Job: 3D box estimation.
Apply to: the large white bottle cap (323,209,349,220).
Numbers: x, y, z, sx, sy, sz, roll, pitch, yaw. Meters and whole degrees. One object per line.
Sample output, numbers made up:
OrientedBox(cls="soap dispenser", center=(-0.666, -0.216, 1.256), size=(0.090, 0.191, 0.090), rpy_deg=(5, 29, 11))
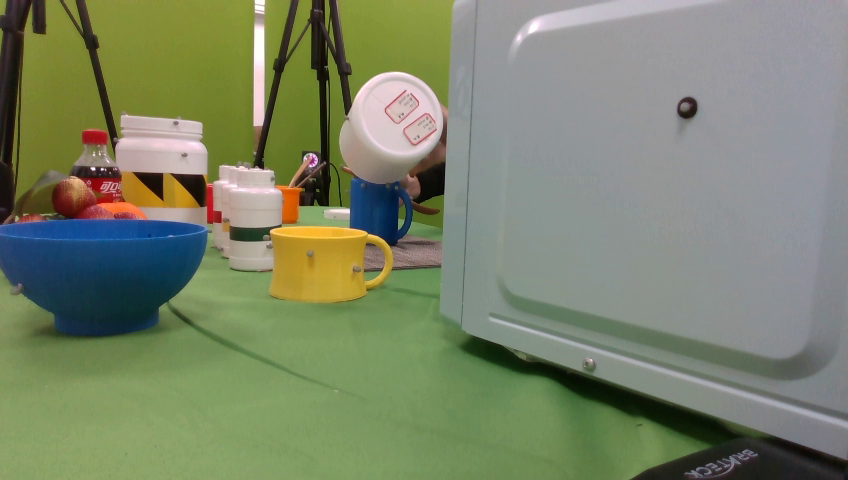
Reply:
OrientedBox(cls="large white bottle cap", center=(-0.184, -0.062, 1.449), size=(0.115, 0.018, 0.115), rpy_deg=(2, 8, 0))

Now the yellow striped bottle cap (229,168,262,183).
OrientedBox(cls="yellow striped bottle cap", center=(-0.240, -0.087, 0.816), size=(0.044, 0.018, 0.044), rpy_deg=(-4, 5, 1))

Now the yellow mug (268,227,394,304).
OrientedBox(cls="yellow mug", center=(-0.094, 0.023, 0.629), size=(0.131, 0.064, 0.099), rpy_deg=(0, 7, -22))

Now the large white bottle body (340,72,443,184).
OrientedBox(cls="large white bottle body", center=(-0.056, -0.158, 0.911), size=(0.131, 0.130, 0.184), rpy_deg=(1, -9, -15))

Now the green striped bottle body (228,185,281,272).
OrientedBox(cls="green striped bottle body", center=(-0.208, -0.024, 0.745), size=(0.063, 0.119, 0.063), rpy_deg=(2, 7, 0))

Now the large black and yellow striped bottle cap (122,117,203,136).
OrientedBox(cls="large black and yellow striped bottle cap", center=(-0.399, -0.174, 0.927), size=(0.115, 0.019, 0.115), rpy_deg=(5, 9, -1))

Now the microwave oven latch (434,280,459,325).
OrientedBox(cls="microwave oven latch", center=(0.044, 0.045, 0.470), size=(0.079, 0.029, 0.030), rpy_deg=(-2, 8, -39))

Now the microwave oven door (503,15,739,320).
OrientedBox(cls="microwave oven door", center=(0.218, -0.065, 0.600), size=(0.358, 0.243, 0.039), rpy_deg=(-4, 10, -41))

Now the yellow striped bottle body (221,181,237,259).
OrientedBox(cls="yellow striped bottle body", center=(-0.243, -0.035, 0.823), size=(0.063, 0.120, 0.063), rpy_deg=(2, 8, 0))

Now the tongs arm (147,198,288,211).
OrientedBox(cls="tongs arm", center=(-0.503, -0.090, 1.513), size=(0.028, 0.028, 0.389), rpy_deg=(-1, 3, 38))

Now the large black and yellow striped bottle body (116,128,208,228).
OrientedBox(cls="large black and yellow striped bottle body", center=(-0.404, -0.089, 0.937), size=(0.131, 0.184, 0.130), rpy_deg=(3, 7, 0))

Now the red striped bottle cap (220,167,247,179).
OrientedBox(cls="red striped bottle cap", center=(-0.281, -0.099, 0.901), size=(0.044, 0.017, 0.044), rpy_deg=(-1, 5, 0))

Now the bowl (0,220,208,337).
OrientedBox(cls="bowl", center=(-0.251, 0.029, 0.479), size=(0.151, 0.077, 0.151), rpy_deg=(2, 7, 0))

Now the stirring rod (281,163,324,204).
OrientedBox(cls="stirring rod", center=(-0.278, -0.105, 1.293), size=(0.176, 0.006, 0.014), rpy_deg=(-46, 25, -19))

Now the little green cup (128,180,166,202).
OrientedBox(cls="little green cup", center=(-0.485, -0.087, 1.062), size=(0.061, 0.038, 0.061), rpy_deg=(0, 6, 0))

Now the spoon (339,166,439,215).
OrientedBox(cls="spoon", center=(-0.061, -0.089, 1.067), size=(0.194, 0.021, 0.041), rpy_deg=(29, -1, 3))

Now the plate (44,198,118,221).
OrientedBox(cls="plate", center=(-0.617, -0.056, 1.179), size=(0.209, 0.038, 0.209), rpy_deg=(3, 7, 0))

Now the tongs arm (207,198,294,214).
OrientedBox(cls="tongs arm", center=(-0.423, -0.084, 1.472), size=(0.050, 0.026, 0.386), rpy_deg=(1, 6, 22))

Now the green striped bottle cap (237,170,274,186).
OrientedBox(cls="green striped bottle cap", center=(-0.205, -0.075, 0.737), size=(0.044, 0.020, 0.044), rpy_deg=(1, 7, 0))

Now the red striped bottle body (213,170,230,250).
OrientedBox(cls="red striped bottle body", center=(-0.283, -0.047, 0.909), size=(0.063, 0.119, 0.063), rpy_deg=(3, 14, 0))

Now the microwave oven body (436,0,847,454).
OrientedBox(cls="microwave oven body", center=(0.279, -0.040, 0.464), size=(0.444, 0.260, 0.324), rpy_deg=(-3, 9, -41))

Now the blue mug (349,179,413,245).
OrientedBox(cls="blue mug", center=(-0.069, -0.047, 1.001), size=(0.116, 0.106, 0.083), rpy_deg=(6, 9, 28))

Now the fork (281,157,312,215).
OrientedBox(cls="fork", center=(-0.290, -0.116, 1.321), size=(0.028, 0.018, 0.207), rpy_deg=(7, 52, 18))
